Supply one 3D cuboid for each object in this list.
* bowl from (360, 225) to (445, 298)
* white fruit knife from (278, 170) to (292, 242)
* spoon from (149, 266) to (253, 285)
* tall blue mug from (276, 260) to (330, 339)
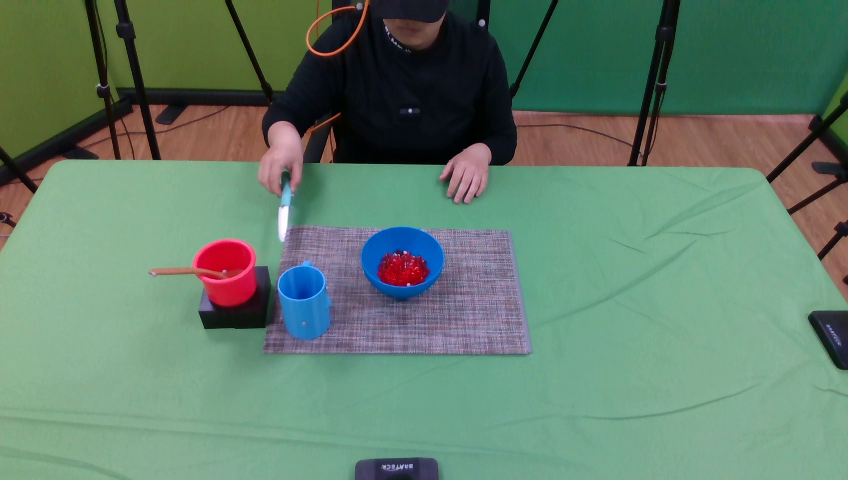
[{"bbox_3d":[-0.040,0.053,1.099,0.151,0.077,0.150,2,46,-2],"label":"bowl"},{"bbox_3d":[-0.273,-0.069,1.187,0.027,0.016,0.206,-22,46,13],"label":"white fruit knife"},{"bbox_3d":[-0.351,0.052,0.968,0.041,0.021,0.194,41,12,28],"label":"spoon"},{"bbox_3d":[-0.208,0.094,1.025,0.078,0.108,0.106,-21,51,-21],"label":"tall blue mug"}]
